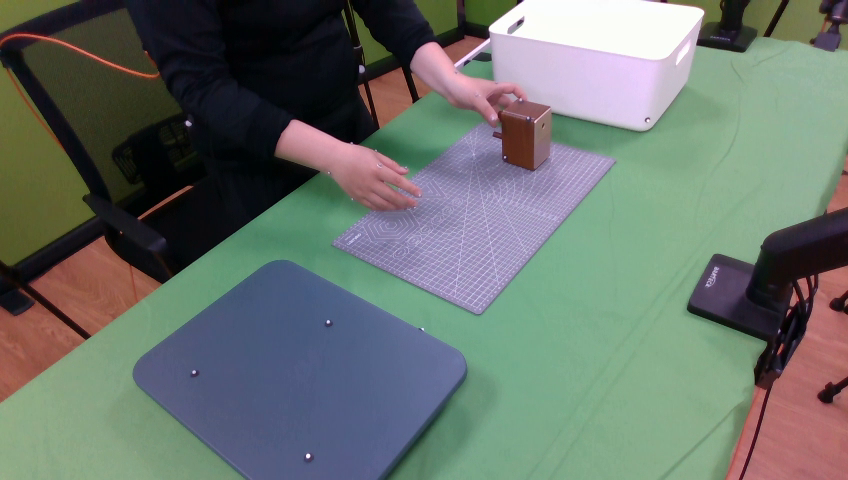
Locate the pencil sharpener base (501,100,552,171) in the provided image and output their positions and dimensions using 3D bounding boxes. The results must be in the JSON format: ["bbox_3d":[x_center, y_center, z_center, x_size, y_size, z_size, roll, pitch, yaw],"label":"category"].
[{"bbox_3d":[0.184,-0.191,1.097,0.076,0.107,0.061,22,49,32],"label":"pencil sharpener base"}]

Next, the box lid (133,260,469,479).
[{"bbox_3d":[-0.156,0.160,0.747,0.368,0.015,0.264,23,49,31],"label":"box lid"}]

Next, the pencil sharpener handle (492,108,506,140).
[{"bbox_3d":[0.141,-0.215,1.114,0.030,0.068,0.036,22,42,32],"label":"pencil sharpener handle"}]

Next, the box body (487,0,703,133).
[{"bbox_3d":[0.346,-0.374,1.251,0.361,0.161,0.255,20,48,29],"label":"box body"}]
